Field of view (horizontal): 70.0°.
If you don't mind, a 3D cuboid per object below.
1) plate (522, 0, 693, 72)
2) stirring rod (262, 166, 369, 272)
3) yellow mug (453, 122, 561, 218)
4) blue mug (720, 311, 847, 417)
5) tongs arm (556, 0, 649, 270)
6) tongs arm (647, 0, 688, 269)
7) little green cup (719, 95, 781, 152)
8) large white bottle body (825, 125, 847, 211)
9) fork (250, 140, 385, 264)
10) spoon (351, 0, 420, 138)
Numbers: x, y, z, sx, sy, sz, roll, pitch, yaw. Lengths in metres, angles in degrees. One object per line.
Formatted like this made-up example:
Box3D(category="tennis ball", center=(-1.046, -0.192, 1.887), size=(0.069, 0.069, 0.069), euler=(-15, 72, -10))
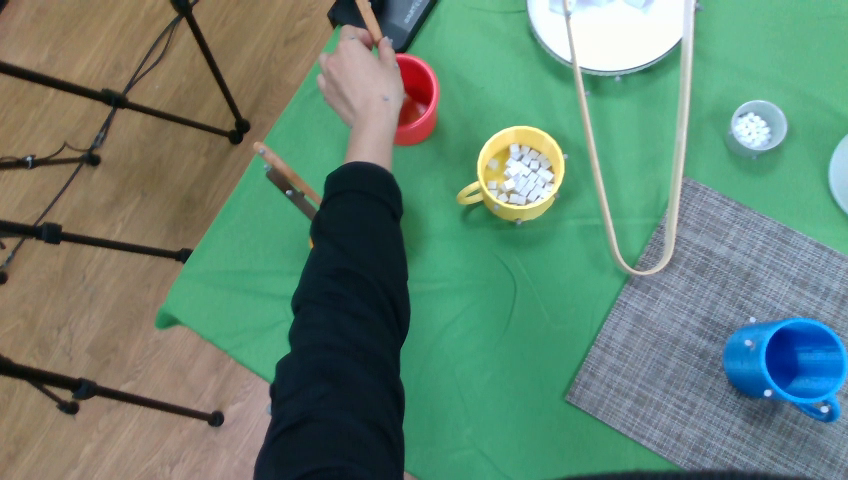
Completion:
Box3D(category="plate", center=(0.226, -0.305, 0.762), size=(0.207, 0.039, 0.207), euler=(-1, 80, 6))
Box3D(category="stirring rod", center=(-0.120, -0.020, 0.694), size=(0.006, 0.178, 0.014), euler=(11, 59, 51))
Box3D(category="yellow mug", center=(0.095, -0.076, 0.721), size=(0.131, 0.064, 0.099), euler=(-23, 79, 3))
Box3D(category="blue mug", center=(0.380, 0.133, 0.631), size=(0.082, 0.106, 0.116), euler=(-35, 78, -1))
Box3D(category="tongs arm", center=(0.206, -0.152, 0.718), size=(0.051, 0.026, 0.384), euler=(-9, 86, 1))
Box3D(category="tongs arm", center=(0.290, -0.158, 0.713), size=(0.028, 0.028, 0.387), euler=(5, 87, -1))
Box3D(category="little green cup", center=(0.382, -0.135, 0.715), size=(0.061, 0.039, 0.061), euler=(-1, 81, 6))
Box3D(category="large white bottle body", center=(0.522, -0.097, 0.619), size=(0.130, 0.185, 0.130), euler=(-1, 79, 6))
Box3D(category="fork", center=(-0.118, -0.041, 0.695), size=(0.028, 0.018, 0.209), euler=(-48, 123, -5))
Box3D(category="spoon", center=(-0.049, -0.210, 0.718), size=(0.041, 0.195, 0.021), euler=(-28, 34, -10))
